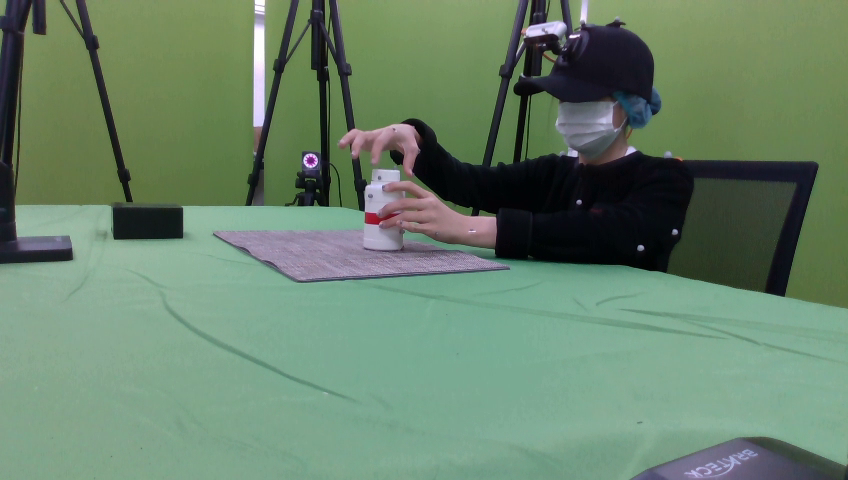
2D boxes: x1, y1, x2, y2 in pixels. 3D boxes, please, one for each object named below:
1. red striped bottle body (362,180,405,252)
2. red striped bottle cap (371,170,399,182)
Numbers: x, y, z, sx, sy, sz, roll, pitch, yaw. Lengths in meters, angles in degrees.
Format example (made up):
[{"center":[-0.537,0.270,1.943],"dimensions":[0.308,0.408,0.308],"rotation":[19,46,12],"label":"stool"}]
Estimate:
[{"center":[-0.062,-0.045,0.933],"dimensions":[0.063,0.119,0.063],"rotation":[3,8,0],"label":"red striped bottle body"},{"center":[-0.059,-0.098,0.925],"dimensions":[0.044,0.017,0.044],"rotation":[4,5,0],"label":"red striped bottle cap"}]
